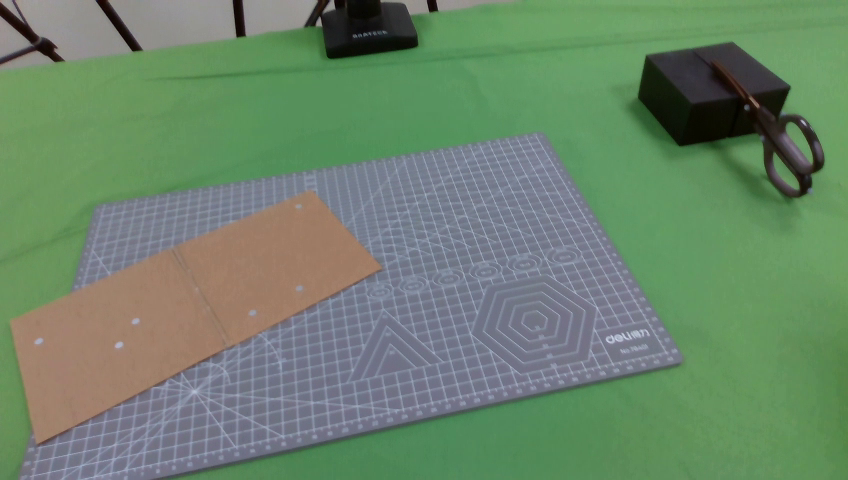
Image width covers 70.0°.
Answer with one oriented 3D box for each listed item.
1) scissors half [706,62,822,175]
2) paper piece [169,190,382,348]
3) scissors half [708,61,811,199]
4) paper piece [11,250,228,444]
[{"bbox_3d":[0.305,-0.121,0.556,0.013,0.040,0.173,-18,44,1],"label":"scissors half"},{"bbox_3d":[-0.128,0.016,0.518,0.138,0.009,0.134,-26,52,-23],"label":"paper piece"},{"bbox_3d":[0.309,-0.109,0.571,0.013,0.040,0.173,-15,61,-3],"label":"scissors half"},{"bbox_3d":[-0.238,0.072,0.467,0.136,0.004,0.134,-27,48,-22],"label":"paper piece"}]
